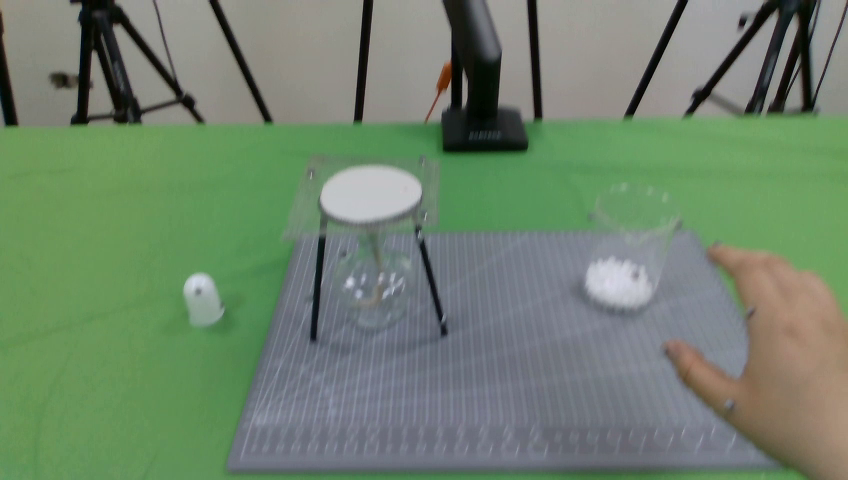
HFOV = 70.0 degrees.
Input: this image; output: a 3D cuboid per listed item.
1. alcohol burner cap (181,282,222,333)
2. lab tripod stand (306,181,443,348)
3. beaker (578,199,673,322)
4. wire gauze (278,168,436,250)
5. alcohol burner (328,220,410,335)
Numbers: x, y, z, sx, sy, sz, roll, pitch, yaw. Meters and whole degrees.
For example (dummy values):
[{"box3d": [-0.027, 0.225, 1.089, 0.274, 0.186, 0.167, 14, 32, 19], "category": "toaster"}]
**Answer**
[{"box3d": [-0.214, 0.062, 0.579, 0.034, 0.048, 0.033, 1, 37, 0], "category": "alcohol burner cap"}, {"box3d": [-0.049, 0.021, 0.552, 0.148, 0.132, 0.147, -1, 35, 1], "category": "lab tripod stand"}, {"box3d": [0.189, 0.024, 0.580, 0.074, 0.101, 0.083, 8, 37, 12], "category": "beaker"}, {"box3d": [-0.051, -0.031, 0.509, 0.121, 0.011, 0.124, 0, 34, 1], "category": "wire gauze"}, {"box3d": [-0.051, 0.030, 0.557, 0.078, 0.120, 0.077, 1, 37, -1], "category": "alcohol burner"}]
